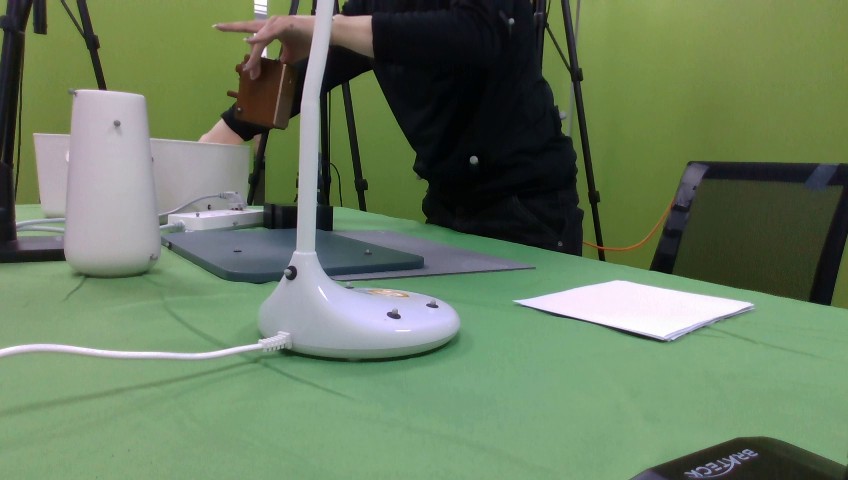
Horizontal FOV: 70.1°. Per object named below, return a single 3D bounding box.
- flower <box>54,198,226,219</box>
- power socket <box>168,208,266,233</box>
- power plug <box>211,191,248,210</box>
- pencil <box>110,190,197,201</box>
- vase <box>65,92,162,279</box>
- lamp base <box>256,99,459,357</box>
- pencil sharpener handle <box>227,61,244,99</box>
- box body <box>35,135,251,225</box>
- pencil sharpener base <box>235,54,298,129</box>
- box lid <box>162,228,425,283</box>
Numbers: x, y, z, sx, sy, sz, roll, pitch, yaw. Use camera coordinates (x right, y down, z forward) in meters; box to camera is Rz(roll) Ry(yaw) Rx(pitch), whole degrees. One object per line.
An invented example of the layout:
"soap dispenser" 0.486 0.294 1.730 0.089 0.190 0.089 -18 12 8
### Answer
"flower" -0.574 -0.059 1.267 0.044 0.038 0.364 31 18 33
"power socket" -0.379 -0.038 1.129 0.072 0.032 0.227 4 8 18
"power plug" -0.384 -0.072 1.206 0.072 0.052 0.035 2 9 29
"pencil" -0.589 -0.100 1.330 0.012 0.012 0.195 8 14 38
"vase" -0.347 -0.060 0.673 0.098 0.200 0.098 1 7 0
"lamp base" -0.055 -0.013 0.463 0.160 0.180 0.180 6 11 27
"pencil sharpener handle" -0.309 -0.268 1.004 0.030 0.067 0.036 14 16 7
"box body" -0.559 -0.127 1.257 0.253 0.160 0.365 4 8 15
"pencil sharpener base" -0.263 -0.244 0.998 0.076 0.107 0.061 14 9 7
"box lid" -0.200 0.014 0.861 0.265 0.015 0.369 -3 9 -35
